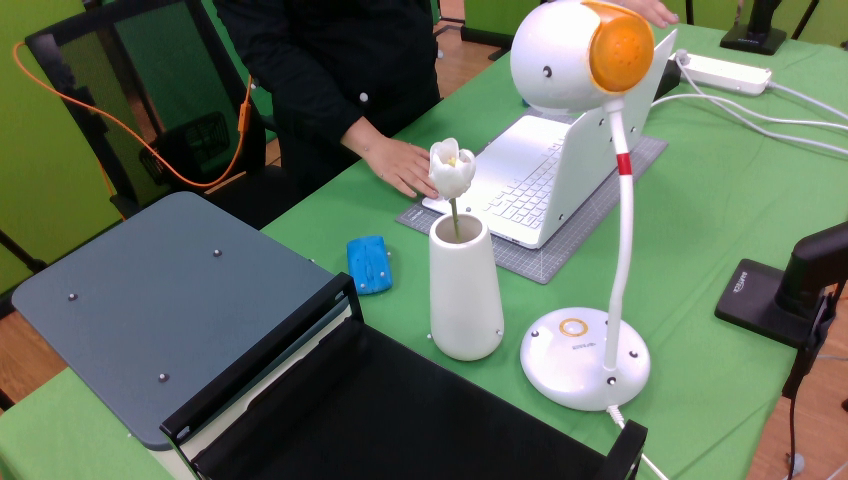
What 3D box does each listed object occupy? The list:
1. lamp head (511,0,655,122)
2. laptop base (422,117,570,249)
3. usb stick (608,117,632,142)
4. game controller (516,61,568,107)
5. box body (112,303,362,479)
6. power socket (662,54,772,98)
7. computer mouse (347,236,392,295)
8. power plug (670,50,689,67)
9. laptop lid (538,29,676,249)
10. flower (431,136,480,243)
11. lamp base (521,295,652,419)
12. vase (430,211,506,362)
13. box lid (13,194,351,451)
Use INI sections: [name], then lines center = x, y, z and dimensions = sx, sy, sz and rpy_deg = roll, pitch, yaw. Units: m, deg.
[lamp head]
center = 0.155, -0.168, 0.564
dimensions = 0.113, 0.113, 0.122
rpy_deg = -18, 23, -12
[laptop base]
center = 0.192, -0.116, 1.087
dimensions = 0.233, 0.023, 0.355
rpy_deg = 21, 48, 34
[usb stick]
center = 0.370, -0.207, 1.147
dimensions = 0.021, 0.027, 0.059
rpy_deg = 27, 55, 32
[game controller]
center = 0.259, -0.352, 1.336
dimensions = 0.097, 0.052, 0.154
rpy_deg = -3, 41, 2
[box body]
center = -0.285, 0.123, 0.766
dimensions = 0.361, 0.161, 0.255
rpy_deg = 25, 49, 33
[power socket]
center = 0.619, -0.353, 1.289
dimensions = 0.225, 0.033, 0.072
rpy_deg = 27, 51, 33
[computer mouse]
center = -0.086, 0.035, 0.936
dimensions = 0.063, 0.041, 0.116
rpy_deg = -8, 44, -5
[power plug]
center = 0.540, -0.379, 1.302
dimensions = 0.073, 0.053, 0.035
rpy_deg = -31, 47, -22
[laptop lid]
center = 0.288, -0.159, 0.939
dimensions = 0.013, 0.242, 0.358
rpy_deg = 31, 51, 24
[flower]
center = 0.041, 0.011, 0.691
dimensions = 0.044, 0.363, 0.038
rpy_deg = 16, 62, 14
[lamp base]
center = 0.200, 0.095, 0.710
dimensions = 0.161, 0.181, 0.177
rpy_deg = -16, 43, -10
[vase]
center = 0.054, 0.062, 0.757
dimensions = 0.098, 0.201, 0.097
rpy_deg = -3, 40, 3
[box lid]
center = -0.292, 0.067, 0.717
dimensions = 0.368, 0.015, 0.264
rpy_deg = 25, 50, 33
